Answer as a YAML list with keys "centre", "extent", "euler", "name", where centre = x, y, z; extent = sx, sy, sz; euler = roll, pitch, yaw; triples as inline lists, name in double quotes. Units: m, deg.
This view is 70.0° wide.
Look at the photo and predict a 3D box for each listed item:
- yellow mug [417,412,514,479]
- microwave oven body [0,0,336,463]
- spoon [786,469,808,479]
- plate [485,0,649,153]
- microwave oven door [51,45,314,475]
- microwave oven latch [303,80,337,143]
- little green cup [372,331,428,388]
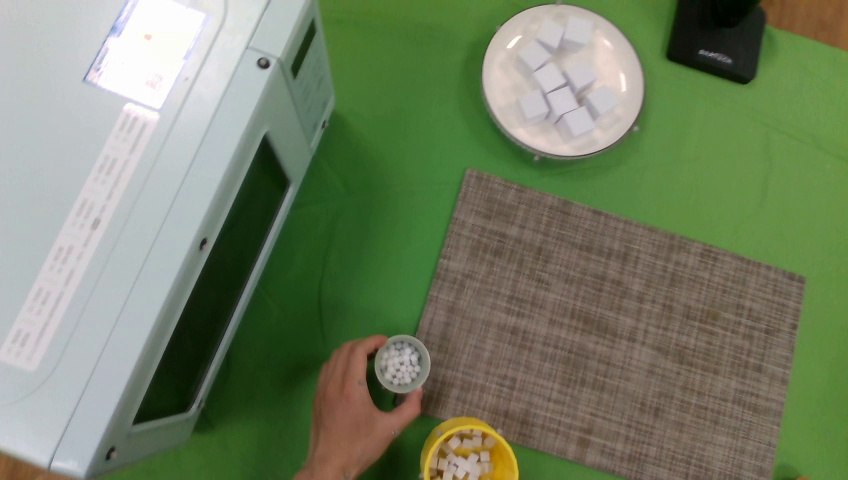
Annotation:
- centre: [0.036, 0.256, 0.660]
  extent: [0.100, 0.064, 0.130]
  euler: [30, 82, 1]
  name: "yellow mug"
- centre: [-0.323, -0.067, 0.586]
  extent: [0.326, 0.260, 0.440]
  euler: [21, 80, -1]
  name: "microwave oven body"
- centre: [0.472, 0.355, 0.702]
  extent: [0.041, 0.021, 0.193]
  euler: [-26, 83, -26]
  name: "spoon"
- centre: [0.178, -0.206, 0.769]
  extent: [0.208, 0.039, 0.207]
  euler: [1, 80, -4]
  name: "plate"
- centre: [-0.201, 0.024, 0.575]
  extent: [0.039, 0.244, 0.354]
  euler: [21, 79, 0]
  name: "microwave oven door"
- centre: [-0.128, -0.157, 0.715]
  extent: [0.030, 0.029, 0.079]
  euler: [23, 80, -1]
  name: "microwave oven latch"
- centre: [-0.029, 0.131, 0.668]
  extent: [0.062, 0.038, 0.061]
  euler: [1, 84, -13]
  name: "little green cup"
